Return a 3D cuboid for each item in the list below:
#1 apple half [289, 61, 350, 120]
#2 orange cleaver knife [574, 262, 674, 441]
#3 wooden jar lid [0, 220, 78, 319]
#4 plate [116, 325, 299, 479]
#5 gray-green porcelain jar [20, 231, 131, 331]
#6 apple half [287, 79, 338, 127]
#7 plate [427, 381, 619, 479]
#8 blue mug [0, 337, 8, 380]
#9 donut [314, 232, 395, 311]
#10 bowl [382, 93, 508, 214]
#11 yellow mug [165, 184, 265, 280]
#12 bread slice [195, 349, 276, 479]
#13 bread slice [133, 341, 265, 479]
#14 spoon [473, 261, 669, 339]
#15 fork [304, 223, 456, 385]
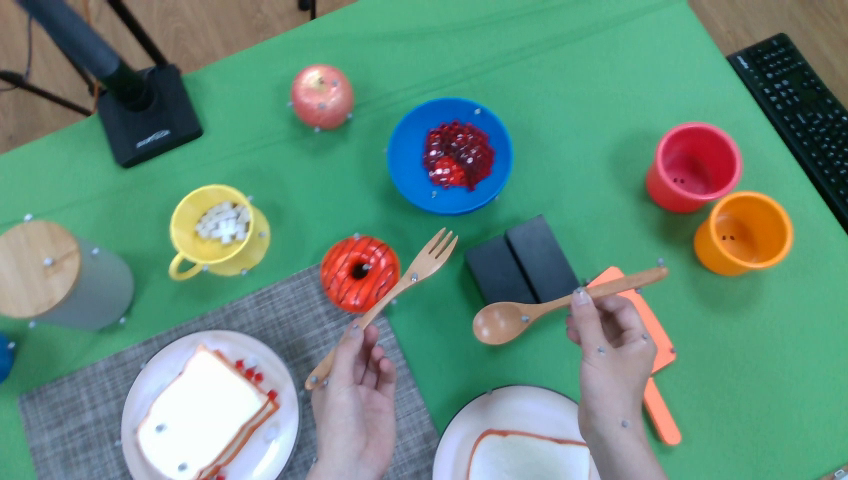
[{"bbox_3d":[-0.128,-0.197,0.787,0.080,0.075,0.053,30,73,14],"label":"apple half"},{"bbox_3d":[0.249,0.126,0.712,0.077,0.012,0.210,-22,74,-10],"label":"orange cleaver knife"},{"bbox_3d":[-0.421,0.032,0.648,0.108,0.021,0.108,-1,74,4],"label":"wooden jar lid"},{"bbox_3d":[-0.244,0.204,0.701,0.207,0.039,0.206,-1,75,3],"label":"plate"},{"bbox_3d":[-0.417,0.049,0.708,0.106,0.127,0.105,-1,75,3],"label":"gray-green porcelain jar"},{"bbox_3d":[-0.148,-0.165,0.777,0.081,0.082,0.032,30,74,10],"label":"apple half"},{"bbox_3d":[0.107,0.263,0.672,0.209,0.038,0.208,-1,75,3],"label":"plate"},{"bbox_3d":[-0.568,0.150,0.699,0.082,0.106,0.116,38,80,12],"label":"blue mug"},{"bbox_3d":[-0.084,0.038,0.733,0.099,0.048,0.098,-1,76,3],"label":"donut"},{"bbox_3d":[0.027,-0.095,0.750,0.151,0.077,0.150,-1,76,3],"label":"bowl"},{"bbox_3d":[-0.265,-0.001,0.745,0.099,0.064,0.130,40,81,12],"label":"yellow mug"},{"bbox_3d":[-0.253,0.209,0.702,0.104,0.019,0.131,36,79,11],"label":"bread slice"},{"bbox_3d":[-0.255,0.199,0.676,0.106,0.018,0.134,32,78,13],"label":"bread slice"},{"bbox_3d":[0.130,0.054,0.562,0.193,0.022,0.041,-23,70,33],"label":"spoon"},{"bbox_3d":[-0.040,0.058,0.579,0.028,0.019,0.207,36,66,19],"label":"fork"}]
